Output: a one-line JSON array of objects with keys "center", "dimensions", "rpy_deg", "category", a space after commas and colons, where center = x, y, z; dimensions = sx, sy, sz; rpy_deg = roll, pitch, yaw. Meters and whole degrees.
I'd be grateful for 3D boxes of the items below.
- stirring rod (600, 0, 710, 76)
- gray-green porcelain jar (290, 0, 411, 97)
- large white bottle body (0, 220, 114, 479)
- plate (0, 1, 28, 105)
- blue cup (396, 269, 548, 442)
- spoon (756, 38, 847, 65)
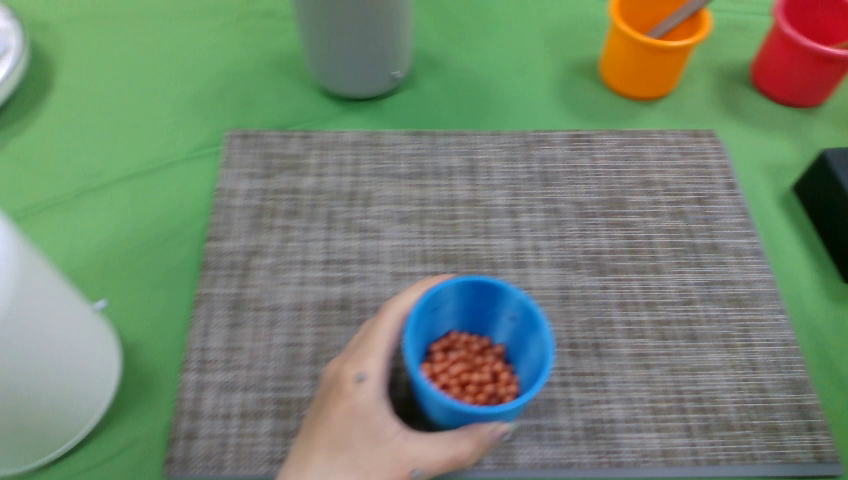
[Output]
[{"center": [0.238, -0.209, 0.555], "dimensions": [0.176, 0.006, 0.014], "rpy_deg": [-35, 58, 26], "category": "stirring rod"}, {"center": [-0.064, -0.202, 0.546], "dimensions": [0.106, 0.127, 0.105], "rpy_deg": [1, 58, -1], "category": "gray-green porcelain jar"}, {"center": [-0.277, 0.052, 0.341], "dimensions": [0.131, 0.186, 0.129], "rpy_deg": [1, 58, -2], "category": "large white bottle body"}, {"center": [-0.467, -0.151, 0.550], "dimensions": [0.208, 0.039, 0.205], "rpy_deg": [1, 58, -1], "category": "plate"}, {"center": [0.024, 0.083, 0.379], "dimensions": [0.093, 0.101, 0.092], "rpy_deg": [2, 57, -3], "category": "blue cup"}, {"center": [0.383, -0.172, 0.533], "dimensions": [0.041, 0.022, 0.192], "rpy_deg": [-32, 20, -15], "category": "spoon"}]
